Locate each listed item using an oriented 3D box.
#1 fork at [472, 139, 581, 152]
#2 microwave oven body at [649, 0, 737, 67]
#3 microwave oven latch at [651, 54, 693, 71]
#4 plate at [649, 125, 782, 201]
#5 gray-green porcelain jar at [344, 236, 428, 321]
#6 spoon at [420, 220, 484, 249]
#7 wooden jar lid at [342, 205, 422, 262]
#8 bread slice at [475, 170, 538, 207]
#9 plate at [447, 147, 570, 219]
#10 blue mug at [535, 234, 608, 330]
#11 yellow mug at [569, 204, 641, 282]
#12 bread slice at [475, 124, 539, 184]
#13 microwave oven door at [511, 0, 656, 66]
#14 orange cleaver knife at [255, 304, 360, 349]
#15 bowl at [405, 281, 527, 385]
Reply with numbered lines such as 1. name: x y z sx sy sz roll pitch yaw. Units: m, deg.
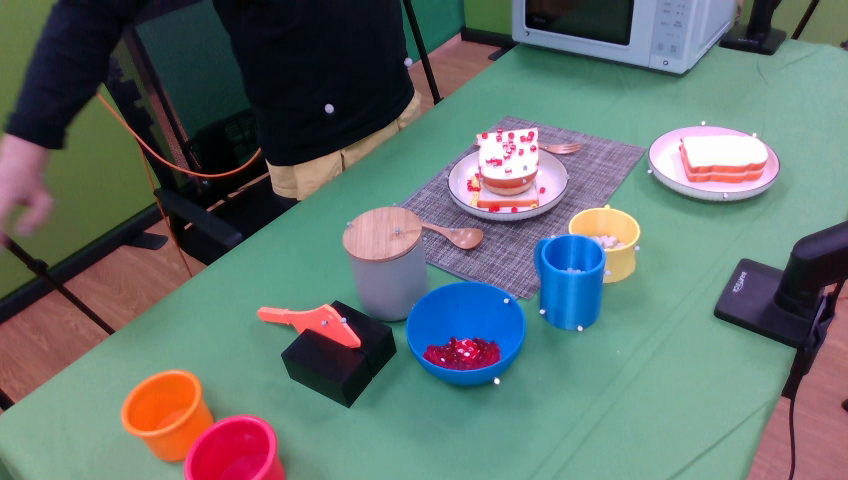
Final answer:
1. fork: 0.193 -0.184 1.153 0.206 0.019 0.028 7 50 14
2. microwave oven body: 0.475 -0.602 1.411 0.438 0.261 0.327 23 50 32
3. microwave oven latch: 0.532 -0.386 1.301 0.078 0.029 0.030 26 51 33
4. plate: 0.493 -0.128 1.036 0.207 0.039 0.206 -4 41 4
5. gray-green porcelain jar: -0.049 0.042 0.849 0.106 0.127 0.105 -4 41 4
6. spoon: 0.010 -0.022 0.989 0.192 0.022 0.041 17 67 25
7. wooden jar lid: -0.055 -0.006 0.808 0.108 0.021 0.108 -6 40 6
8. bread slice: 0.143 -0.104 1.058 0.105 0.019 0.131 0 44 6
9. plate: 0.145 -0.098 1.046 0.209 0.038 0.208 -4 40 4
10. blue mug: 0.191 0.048 0.824 0.082 0.106 0.115 -26 44 -21
11. yellow mug: 0.268 -0.005 0.904 0.099 0.064 0.130 7 41 15
12. bread slice: 0.143 -0.144 1.009 0.107 0.018 0.133 -7 46 7
13. microwave oven door: 0.351 -0.539 1.349 0.353 0.245 0.039 24 50 31
14. orange cleaver knife: -0.161 0.115 0.813 0.210 0.077 0.012 -4 32 47
15. bowl: 0.055 0.131 0.767 0.151 0.077 0.150 -4 40 4
